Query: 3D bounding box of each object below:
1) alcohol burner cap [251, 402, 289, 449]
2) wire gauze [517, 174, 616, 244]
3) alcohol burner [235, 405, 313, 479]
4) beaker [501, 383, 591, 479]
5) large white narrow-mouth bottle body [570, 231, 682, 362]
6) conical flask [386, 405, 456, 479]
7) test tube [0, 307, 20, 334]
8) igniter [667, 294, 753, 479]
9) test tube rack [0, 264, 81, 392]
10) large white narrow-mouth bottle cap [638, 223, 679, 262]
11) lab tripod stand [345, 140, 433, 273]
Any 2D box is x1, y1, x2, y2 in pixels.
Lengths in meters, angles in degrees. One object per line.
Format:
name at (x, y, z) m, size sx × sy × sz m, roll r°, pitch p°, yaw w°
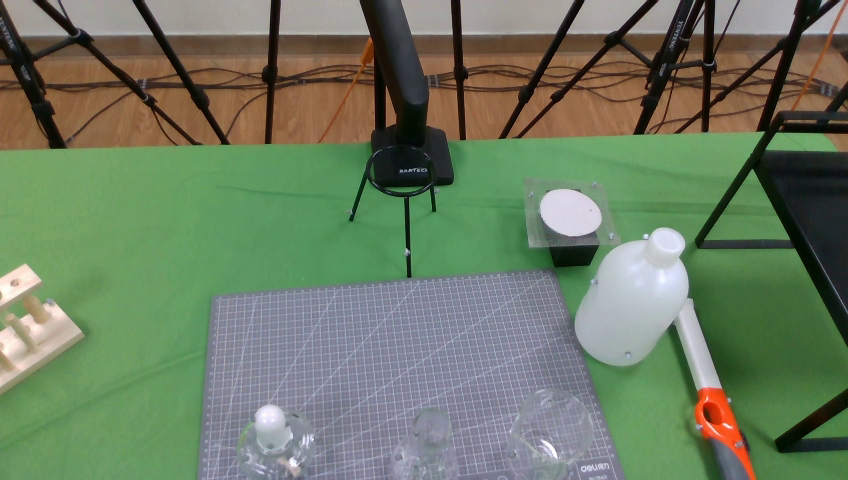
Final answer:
alcohol burner cap at (-0.147, 0.174, 0.573) m, size 0.034 × 0.048 × 0.033 m, roll 1°, pitch 47°, yaw -1°
wire gauze at (0.192, -0.043, 0.831) m, size 0.121 × 0.011 × 0.124 m, roll 2°, pitch 52°, yaw -4°
alcohol burner at (-0.150, 0.195, 0.602) m, size 0.078 × 0.120 × 0.077 m, roll 4°, pitch 50°, yaw -5°
beaker at (0.120, 0.206, 0.631) m, size 0.084 × 0.101 × 0.073 m, roll -7°, pitch 53°, yaw -10°
large white narrow-mouth bottle body at (0.239, 0.056, 0.702) m, size 0.102 × 0.196 × 0.101 m, roll 2°, pitch 52°, yaw -3°
conical flask at (0.000, 0.205, 0.604) m, size 0.075 × 0.123 × 0.074 m, roll 3°, pitch 52°, yaw -3°
test tube at (-0.469, 0.056, 0.636) m, size 0.017 × 0.151 × 0.017 m, roll 0°, pitch 51°, yaw 0°
igniter at (0.335, 0.183, 0.721) m, size 0.057 × 0.025 × 0.273 m, roll 8°, pitch 51°, yaw -13°
test tube rack at (-0.503, 0.138, 0.631) m, size 0.066 × 0.086 × 0.242 m, roll 36°, pitch 57°, yaw 21°
large white narrow-mouth bottle cap at (0.245, 0.002, 0.635) m, size 0.038 × 0.024 × 0.037 m, roll 3°, pitch 52°, yaw -3°
lab tripod stand at (-0.036, -0.050, 0.796) m, size 0.148 × 0.132 × 0.147 m, roll 4°, pitch 53°, yaw -5°
